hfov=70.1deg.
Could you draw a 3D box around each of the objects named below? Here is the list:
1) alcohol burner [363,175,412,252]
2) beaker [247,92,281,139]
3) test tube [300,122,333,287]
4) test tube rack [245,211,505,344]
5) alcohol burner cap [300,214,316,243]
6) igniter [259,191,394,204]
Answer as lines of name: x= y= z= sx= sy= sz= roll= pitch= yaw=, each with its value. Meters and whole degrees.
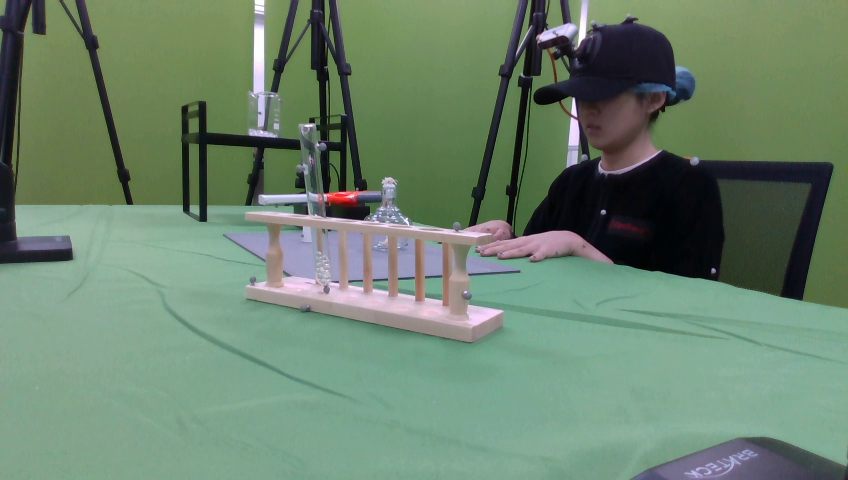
alcohol burner: x=-0.056 y=-0.041 z=0.941 sx=0.078 sy=0.119 sz=0.078 roll=3 pitch=5 yaw=0
beaker: x=-0.361 y=-0.280 z=1.359 sx=0.074 sy=0.100 sz=0.084 roll=4 pitch=8 yaw=8
test tube: x=-0.096 y=-0.030 z=0.543 sx=0.017 sy=0.150 sz=0.017 roll=-3 pitch=14 yaw=1
test tube rack: x=-0.049 y=0.025 z=0.547 sx=0.241 sy=0.085 sz=0.067 roll=7 pitch=8 yaw=29
alcohol burner cap: x=-0.186 y=-0.018 z=0.991 sx=0.034 sy=0.048 sz=0.034 roll=1 pitch=6 yaw=0
igniter: x=-0.193 y=-0.085 z=1.228 sx=0.278 sy=0.025 sz=0.057 roll=-3 pitch=12 yaw=-28
